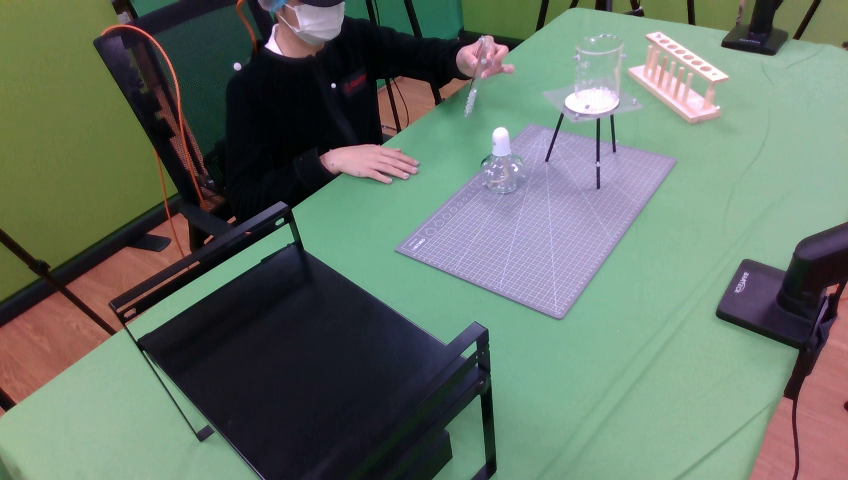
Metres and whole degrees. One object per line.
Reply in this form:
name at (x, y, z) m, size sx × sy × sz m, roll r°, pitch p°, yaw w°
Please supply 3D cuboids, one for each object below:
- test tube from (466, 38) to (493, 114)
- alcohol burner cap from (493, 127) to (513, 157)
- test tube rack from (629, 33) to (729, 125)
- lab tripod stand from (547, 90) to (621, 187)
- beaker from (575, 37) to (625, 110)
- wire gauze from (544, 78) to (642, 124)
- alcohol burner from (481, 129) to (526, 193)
test tube at (0.098, -0.293, 1.093) m, size 0.017 × 0.150 × 0.017 m, roll 8°, pitch 43°, yaw -7°
alcohol burner cap at (0.132, -0.169, 1.030) m, size 0.034 × 0.048 × 0.033 m, roll -6°, pitch 36°, yaw 5°
test tube rack at (0.516, -0.337, 1.247) m, size 0.067 × 0.085 × 0.240 m, roll -14°, pitch 41°, yaw -7°
lab tripod stand at (0.289, -0.184, 1.062) m, size 0.148 × 0.132 × 0.147 m, roll -6°, pitch 41°, yaw 6°
beaker at (0.283, -0.271, 0.988) m, size 0.074 × 0.101 × 0.083 m, roll -10°, pitch 39°, yaw 1°
wire gauze at (0.282, -0.234, 1.021) m, size 0.125 × 0.011 × 0.120 m, roll -17°, pitch 38°, yaw -4°
alcohol burner at (0.138, -0.142, 1.052) m, size 0.078 × 0.119 × 0.077 m, roll -5°, pitch 42°, yaw 5°
